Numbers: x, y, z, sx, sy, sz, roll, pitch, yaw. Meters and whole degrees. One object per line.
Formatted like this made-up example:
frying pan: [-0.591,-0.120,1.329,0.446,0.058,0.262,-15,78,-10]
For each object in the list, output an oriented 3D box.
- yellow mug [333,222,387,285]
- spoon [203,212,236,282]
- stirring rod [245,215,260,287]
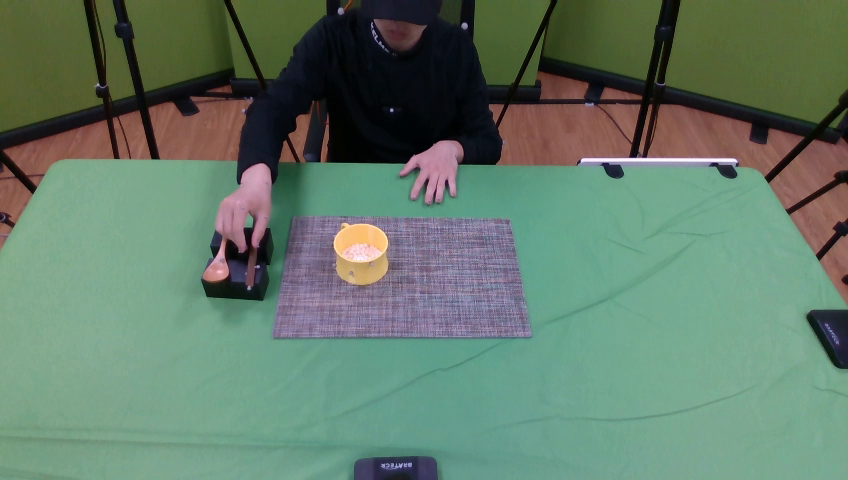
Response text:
yellow mug: [-0.127,0.016,1.139,0.100,0.064,0.130,-23,51,-24]
spoon: [-0.361,0.009,1.097,0.041,0.022,0.192,1,44,-4]
stirring rod: [-0.309,0.017,1.096,0.014,0.006,0.175,27,36,-31]
